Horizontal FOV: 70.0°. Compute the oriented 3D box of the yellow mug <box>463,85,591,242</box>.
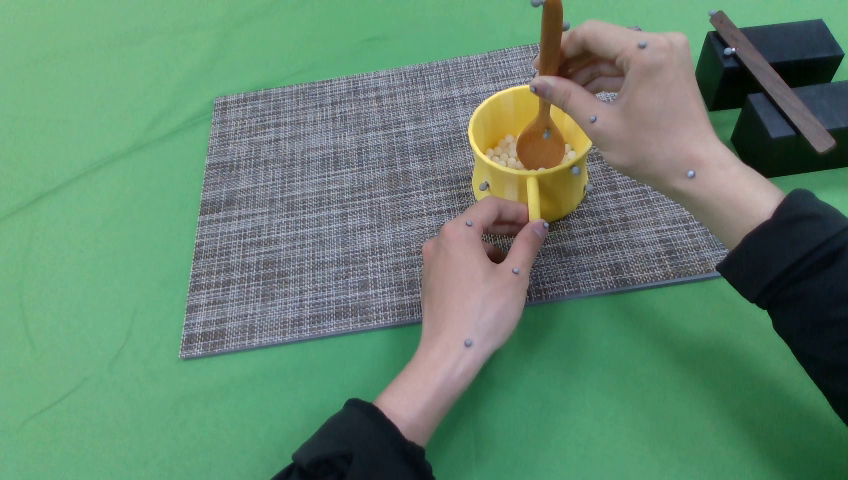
[{"bbox_3d":[0.084,-0.058,0.492,0.100,0.064,0.129,-3,56,7],"label":"yellow mug"}]

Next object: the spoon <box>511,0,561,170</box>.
[{"bbox_3d":[0.085,-0.102,0.438,0.041,0.195,0.021,9,72,10],"label":"spoon"}]

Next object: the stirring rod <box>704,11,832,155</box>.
[{"bbox_3d":[0.276,-0.134,0.496,0.014,0.006,0.174,-36,50,27],"label":"stirring rod"}]
